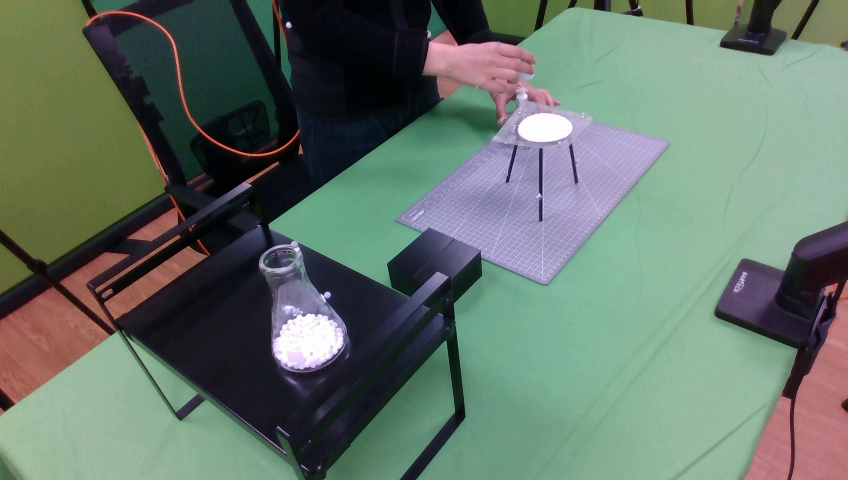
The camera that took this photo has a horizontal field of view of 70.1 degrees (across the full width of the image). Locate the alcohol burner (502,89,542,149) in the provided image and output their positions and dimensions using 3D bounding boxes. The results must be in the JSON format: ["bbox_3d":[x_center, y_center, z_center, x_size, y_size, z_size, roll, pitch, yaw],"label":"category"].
[{"bbox_3d":[0.186,-0.235,1.149,0.078,0.119,0.077,-4,43,4],"label":"alcohol burner"}]

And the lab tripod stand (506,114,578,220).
[{"bbox_3d":[0.198,-0.128,1.005,0.148,0.132,0.147,-3,42,3],"label":"lab tripod stand"}]

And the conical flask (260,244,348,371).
[{"bbox_3d":[-0.118,0.060,0.565,0.075,0.122,0.075,-5,41,4],"label":"conical flask"}]

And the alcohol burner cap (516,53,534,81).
[{"bbox_3d":[0.180,-0.309,1.072,0.034,0.048,0.033,-5,55,8],"label":"alcohol burner cap"}]

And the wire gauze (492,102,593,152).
[{"bbox_3d":[0.190,-0.180,0.964,0.120,0.011,0.125,19,48,27],"label":"wire gauze"}]
